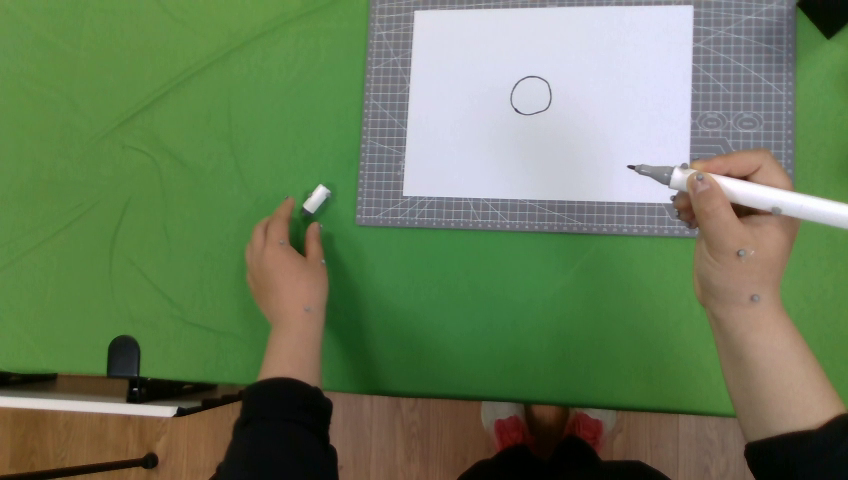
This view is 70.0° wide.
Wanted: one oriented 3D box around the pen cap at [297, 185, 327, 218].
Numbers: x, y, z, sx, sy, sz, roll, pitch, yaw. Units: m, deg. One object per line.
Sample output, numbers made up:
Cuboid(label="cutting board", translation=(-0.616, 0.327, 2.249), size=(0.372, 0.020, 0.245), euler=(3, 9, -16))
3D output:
Cuboid(label="pen cap", translation=(-0.125, -0.043, 0.677), size=(0.017, 0.017, 0.038), euler=(41, 92, 11))

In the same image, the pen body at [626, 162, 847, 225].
Cuboid(label="pen body", translation=(0.203, -0.033, 0.393), size=(0.143, 0.017, 0.017), euler=(17, 88, 24))
